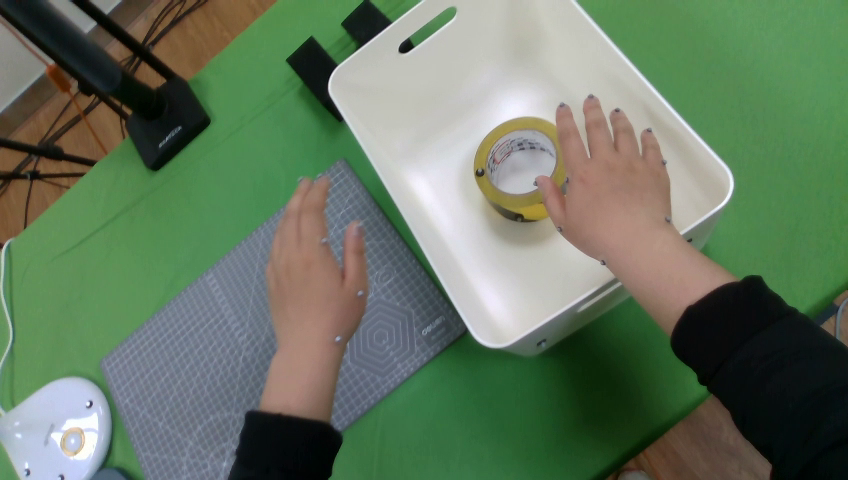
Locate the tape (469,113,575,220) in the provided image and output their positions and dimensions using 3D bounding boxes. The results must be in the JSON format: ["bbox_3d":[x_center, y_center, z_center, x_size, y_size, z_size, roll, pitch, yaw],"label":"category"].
[{"bbox_3d":[0.112,-0.084,0.695,0.116,0.053,0.116,-5,72,18],"label":"tape"}]

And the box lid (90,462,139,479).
[{"bbox_3d":[-0.338,0.471,0.721,0.368,0.015,0.263,27,85,24],"label":"box lid"}]

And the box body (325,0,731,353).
[{"bbox_3d":[0.096,-0.088,0.648,0.254,0.162,0.361,-35,66,7],"label":"box body"}]

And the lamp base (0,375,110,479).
[{"bbox_3d":[-0.533,0.245,0.765,0.178,0.182,0.159,-2,73,22],"label":"lamp base"}]
